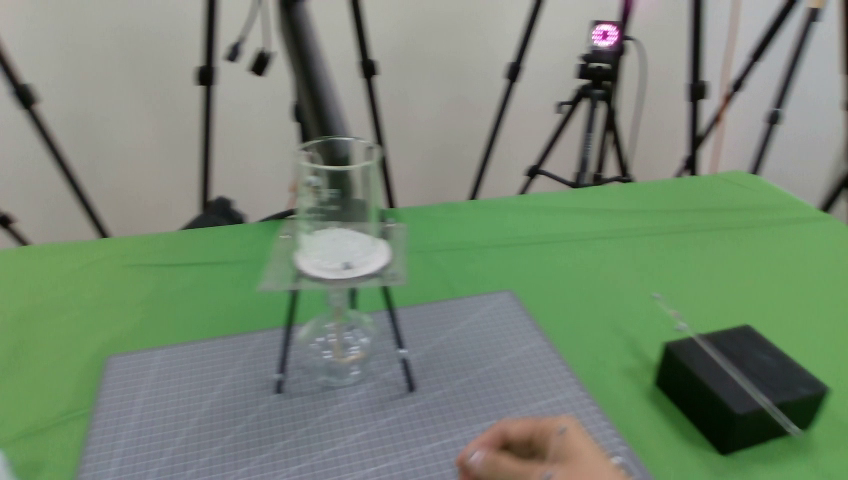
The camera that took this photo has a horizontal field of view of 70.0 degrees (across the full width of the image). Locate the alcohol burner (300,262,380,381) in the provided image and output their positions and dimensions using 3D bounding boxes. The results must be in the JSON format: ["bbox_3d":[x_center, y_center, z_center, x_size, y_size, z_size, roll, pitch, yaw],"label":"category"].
[{"bbox_3d":[-0.082,0.075,0.582,0.078,0.120,0.077,0,28,1],"label":"alcohol burner"}]

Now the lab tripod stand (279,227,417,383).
[{"bbox_3d":[-0.071,0.065,0.580,0.148,0.132,0.147,2,29,-1],"label":"lab tripod stand"}]

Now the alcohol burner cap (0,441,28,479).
[{"bbox_3d":[-0.334,0.177,0.471,0.034,0.048,0.033,0,29,0],"label":"alcohol burner cap"}]

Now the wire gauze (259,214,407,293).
[{"bbox_3d":[-0.076,0.008,0.547,0.121,0.011,0.124,0,32,-2],"label":"wire gauze"}]

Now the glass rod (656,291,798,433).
[{"bbox_3d":[0.270,0.103,0.558,0.008,0.008,0.197,-6,31,-12],"label":"glass rod"}]

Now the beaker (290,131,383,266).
[{"bbox_3d":[-0.077,-0.035,0.524,0.083,0.101,0.074,19,33,27],"label":"beaker"}]
